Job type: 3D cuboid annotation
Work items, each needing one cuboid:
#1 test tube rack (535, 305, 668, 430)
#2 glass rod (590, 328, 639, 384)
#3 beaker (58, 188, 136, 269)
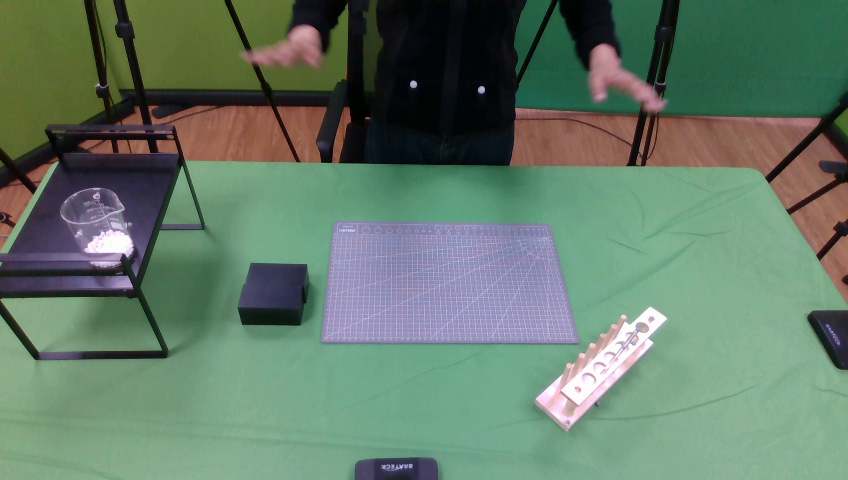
[{"bbox_3d":[0.290,0.193,0.984,0.242,0.085,0.066,-32,56,-30],"label":"test tube rack"},{"bbox_3d":[0.279,0.182,0.902,0.008,0.200,0.008,4,52,-6],"label":"glass rod"},{"bbox_3d":[-0.462,-0.014,0.871,0.084,0.101,0.073,-1,47,-5],"label":"beaker"}]
